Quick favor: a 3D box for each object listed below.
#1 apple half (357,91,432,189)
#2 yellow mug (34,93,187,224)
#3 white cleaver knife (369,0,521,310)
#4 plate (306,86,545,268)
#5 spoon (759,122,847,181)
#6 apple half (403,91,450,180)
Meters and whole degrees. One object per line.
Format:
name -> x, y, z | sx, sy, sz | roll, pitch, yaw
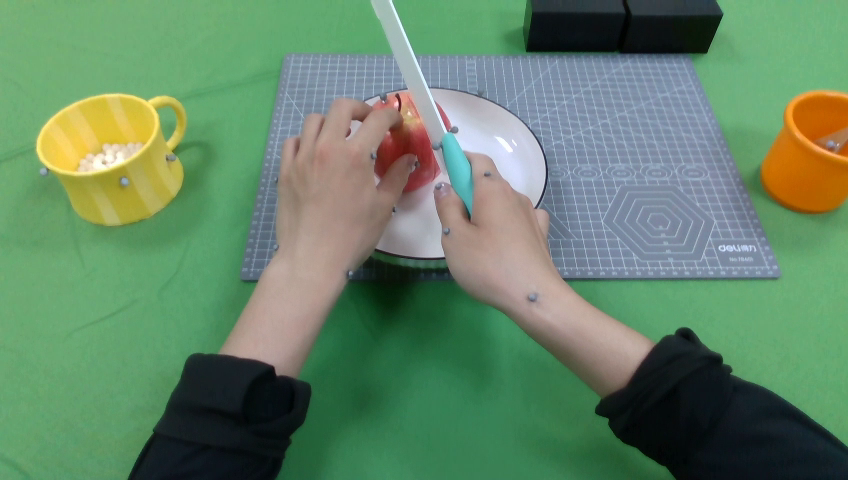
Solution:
apple half -> -0.030, -0.082, 0.526 | 0.053, 0.075, 0.080 | -20, 62, -9
yellow mug -> -0.265, -0.082, 0.541 | 0.099, 0.064, 0.130 | 29, 57, 19
white cleaver knife -> 0.010, -0.082, 0.460 | 0.021, 0.066, 0.285 | -21, 83, -5
plate -> 0.001, -0.057, 0.541 | 0.209, 0.038, 0.207 | 1, 54, -1
spoon -> 0.387, -0.107, 0.519 | 0.022, 0.194, 0.041 | 29, 40, -35
apple half -> 0.006, -0.094, 0.534 | 0.033, 0.082, 0.080 | -20, 56, -9
